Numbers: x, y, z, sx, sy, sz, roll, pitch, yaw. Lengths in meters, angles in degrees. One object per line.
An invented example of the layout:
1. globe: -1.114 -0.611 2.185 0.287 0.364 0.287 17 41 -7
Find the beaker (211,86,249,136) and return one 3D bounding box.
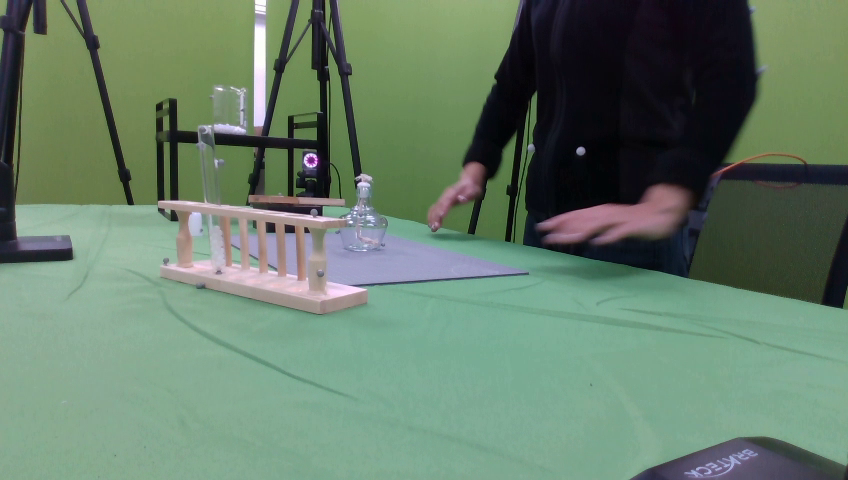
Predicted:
1. beaker: -0.413 -0.274 1.297 0.074 0.100 0.083 -5 11 -44

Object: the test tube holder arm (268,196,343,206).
1. test tube holder arm: -0.241 -0.075 1.152 0.179 0.015 0.013 0 8 -24

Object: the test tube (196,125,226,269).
1. test tube: -0.221 -0.043 0.629 0.017 0.150 0.017 -3 8 1

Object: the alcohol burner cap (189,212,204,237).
1. alcohol burner cap: -0.389 -0.029 1.026 0.034 0.048 0.034 3 8 0

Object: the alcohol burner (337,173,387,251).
1. alcohol burner: -0.095 -0.043 0.926 0.078 0.119 0.078 3 6 0

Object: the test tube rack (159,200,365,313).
1. test tube rack: -0.173 0.009 0.624 0.241 0.085 0.067 7 9 34

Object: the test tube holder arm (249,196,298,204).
1. test tube holder arm: -0.281 -0.074 1.129 0.088 0.015 0.010 1 8 -22
